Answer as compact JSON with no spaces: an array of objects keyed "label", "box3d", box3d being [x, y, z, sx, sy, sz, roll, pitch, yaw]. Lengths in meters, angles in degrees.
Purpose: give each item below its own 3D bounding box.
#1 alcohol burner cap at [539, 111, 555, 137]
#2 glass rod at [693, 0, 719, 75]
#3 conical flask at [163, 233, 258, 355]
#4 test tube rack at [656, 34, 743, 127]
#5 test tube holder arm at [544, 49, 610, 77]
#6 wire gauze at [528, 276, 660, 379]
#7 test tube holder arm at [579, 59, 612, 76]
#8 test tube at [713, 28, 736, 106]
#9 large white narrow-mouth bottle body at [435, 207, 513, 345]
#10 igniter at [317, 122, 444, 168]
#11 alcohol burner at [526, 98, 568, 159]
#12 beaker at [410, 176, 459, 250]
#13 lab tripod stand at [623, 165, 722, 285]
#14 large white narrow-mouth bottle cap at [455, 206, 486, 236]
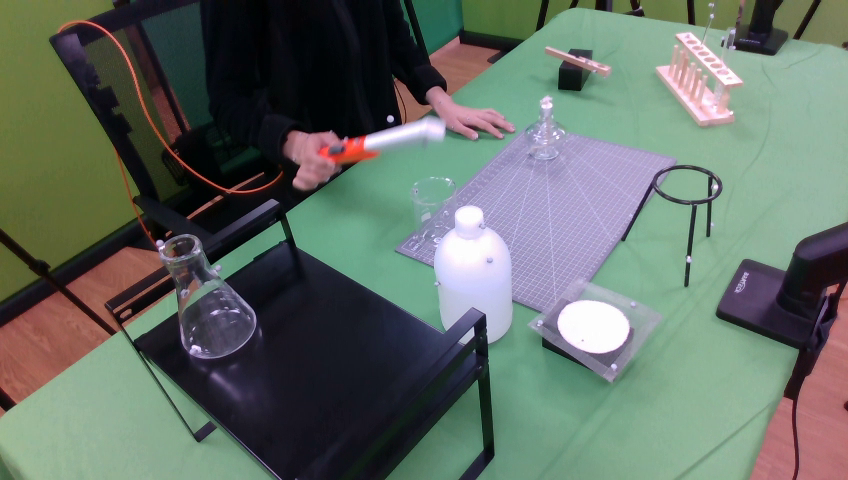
[{"label":"alcohol burner cap","box3d":[0.243,-0.232,1.197,0.034,0.048,0.033,-5,40,4]},{"label":"glass rod","box3d":[0.561,-0.401,1.214,0.008,0.200,0.008,-1,49,2]},{"label":"conical flask","box3d":[-0.217,0.051,0.601,0.075,0.122,0.075,-4,40,4]},{"label":"test tube rack","box3d":[0.553,-0.330,1.233,0.067,0.085,0.241,-7,40,2]},{"label":"test tube holder arm","box3d":[0.330,-0.387,1.314,0.013,0.015,0.177,-25,43,-32]},{"label":"wire gauze","box3d":[0.213,0.103,0.763,0.124,0.011,0.122,30,52,35]},{"label":"test tube holder arm","box3d":[0.362,-0.368,1.289,0.010,0.015,0.087,-25,43,-32]},{"label":"test tube","box3d":[0.570,-0.325,1.149,0.017,0.151,0.017,-4,36,4]},{"label":"large white narrow-mouth bottle body","box3d":[0.065,0.041,0.791,0.102,0.195,0.101,-4,41,4]},{"label":"igniter","box3d":[-0.072,-0.124,0.814,0.058,0.025,0.274,6,-5,-38]},{"label":"alcohol burner","box3d":[0.228,-0.210,1.118,0.078,0.119,0.077,-5,43,5]},{"label":"beaker","box3d":[0.022,-0.042,0.964,0.073,0.101,0.084,28,51,35]},{"label":"lab tripod stand","box3d":[0.365,-0.030,0.875,0.148,0.132,0.147,-6,41,6]},{"label":"large white narrow-mouth bottle cap","box3d":[0.057,-0.023,0.734,0.038,0.024,0.037,-4,40,4]}]
